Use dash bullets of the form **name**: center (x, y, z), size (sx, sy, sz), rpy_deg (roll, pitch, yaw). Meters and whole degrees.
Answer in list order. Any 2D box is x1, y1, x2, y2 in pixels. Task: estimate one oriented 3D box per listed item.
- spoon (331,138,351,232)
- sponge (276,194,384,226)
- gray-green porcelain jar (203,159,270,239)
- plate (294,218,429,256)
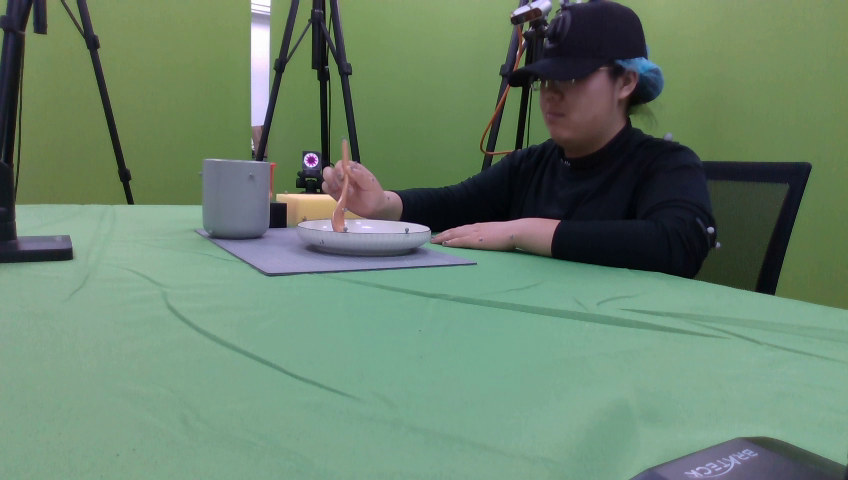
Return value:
- **spoon**: center (-0.127, -0.085, 0.965), size (0.021, 0.193, 0.042), rpy_deg (-8, -30, 21)
- **sponge**: center (-0.203, -0.067, 1.312), size (0.208, 0.061, 0.117), rpy_deg (-3, 9, -35)
- **gray-green porcelain jar**: center (-0.310, -0.068, 0.999), size (0.106, 0.126, 0.106), rpy_deg (3, 7, 0)
- **plate**: center (-0.096, -0.005, 0.936), size (0.208, 0.039, 0.207), rpy_deg (3, 7, 0)
